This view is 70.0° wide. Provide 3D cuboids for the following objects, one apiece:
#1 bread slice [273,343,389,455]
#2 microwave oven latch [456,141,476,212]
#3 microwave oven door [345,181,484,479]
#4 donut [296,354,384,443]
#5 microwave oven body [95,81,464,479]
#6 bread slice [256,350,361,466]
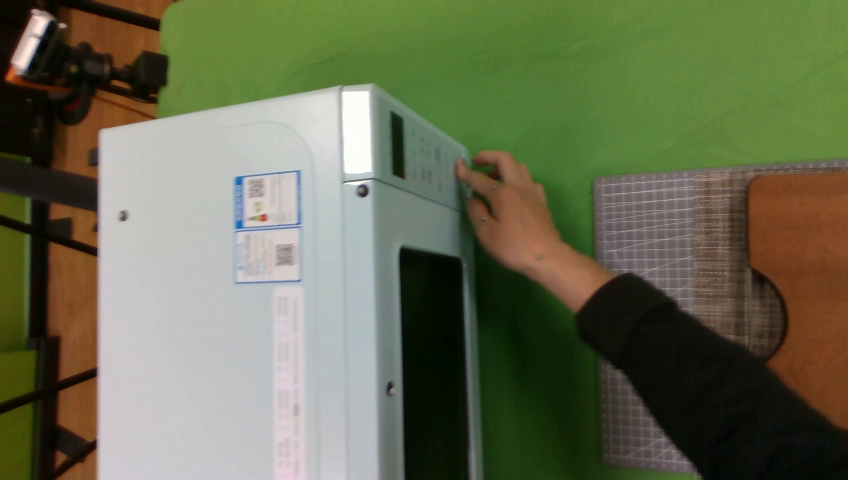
[{"bbox_3d":[-0.110,0.175,0.680,0.131,0.019,0.105,12,96,17],"label":"bread slice"},{"bbox_3d":[0.038,-0.070,0.676,0.030,0.029,0.079,-9,83,22],"label":"microwave oven latch"},{"bbox_3d":[-0.001,0.138,0.566,0.039,0.245,0.355,-4,84,23],"label":"microwave oven door"},{"bbox_3d":[-0.090,0.168,0.643,0.099,0.048,0.099,3,103,12],"label":"donut"},{"bbox_3d":[-0.134,0.106,0.631,0.325,0.261,0.440,-4,85,22],"label":"microwave oven body"},{"bbox_3d":[-0.119,0.170,0.604,0.134,0.018,0.106,-16,82,36],"label":"bread slice"}]
